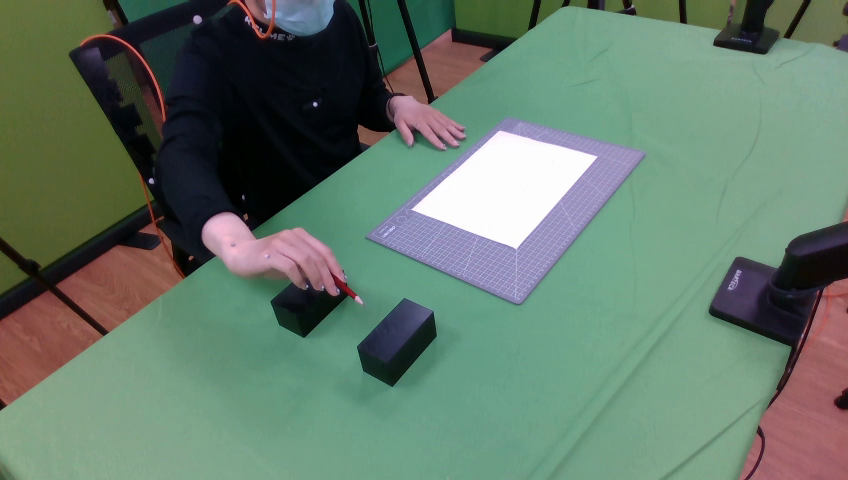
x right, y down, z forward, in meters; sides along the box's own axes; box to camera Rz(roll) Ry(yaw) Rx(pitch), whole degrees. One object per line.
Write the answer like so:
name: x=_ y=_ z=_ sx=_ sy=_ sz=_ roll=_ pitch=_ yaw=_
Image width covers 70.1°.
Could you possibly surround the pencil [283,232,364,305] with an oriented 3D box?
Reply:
pencil: x=-0.140 y=0.037 z=0.824 sx=0.012 sy=0.012 sz=0.192 roll=-33 pitch=49 yaw=-27
